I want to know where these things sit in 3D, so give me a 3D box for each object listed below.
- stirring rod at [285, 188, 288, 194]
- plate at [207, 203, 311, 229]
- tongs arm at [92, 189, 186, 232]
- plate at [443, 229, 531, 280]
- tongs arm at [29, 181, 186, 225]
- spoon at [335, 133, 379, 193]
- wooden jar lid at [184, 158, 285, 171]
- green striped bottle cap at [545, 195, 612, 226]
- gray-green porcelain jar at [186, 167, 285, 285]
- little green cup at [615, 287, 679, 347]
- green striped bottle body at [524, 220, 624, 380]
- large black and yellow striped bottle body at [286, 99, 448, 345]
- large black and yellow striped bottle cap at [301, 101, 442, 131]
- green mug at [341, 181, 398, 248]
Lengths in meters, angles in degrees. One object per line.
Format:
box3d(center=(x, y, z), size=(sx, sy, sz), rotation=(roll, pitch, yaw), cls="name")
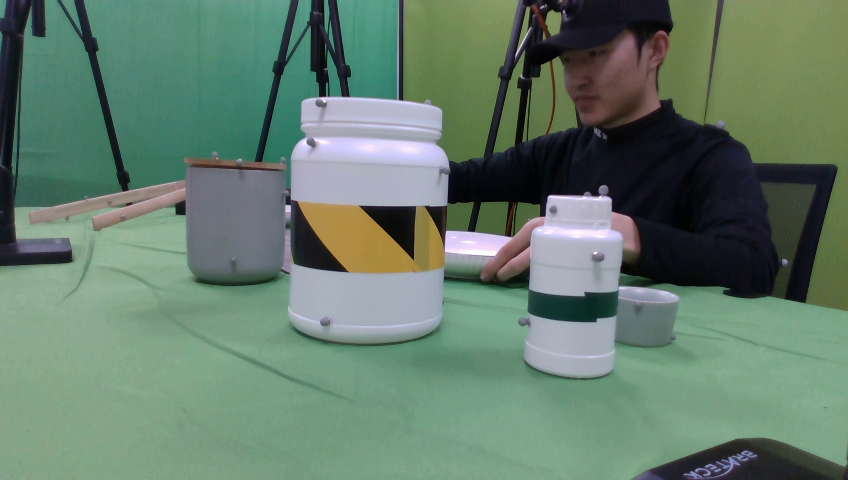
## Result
box3d(center=(-0.353, -0.122, 1.519), size=(0.006, 0.014, 0.176), rotation=(1, 6, 1), cls="stirring rod")
box3d(center=(-0.342, -0.050, 1.259), size=(0.208, 0.039, 0.207), rotation=(3, 7, 0), cls="plate")
box3d(center=(-0.534, -0.076, 1.221), size=(0.028, 0.028, 0.388), rotation=(-2, 15, 12), cls="tongs arm")
box3d(center=(0.056, 0.019, 0.814), size=(0.209, 0.038, 0.209), rotation=(3, 9, 0), cls="plate")
box3d(center=(-0.609, -0.083, 1.245), size=(0.050, 0.026, 0.386), rotation=(5, 16, 23), cls="tongs arm")
box3d(center=(-0.118, -0.134, 1.029), size=(0.042, 0.021, 0.193), rotation=(12, 34, -35), cls="spoon")
box3d(center=(-0.210, -0.078, 0.674), size=(0.108, 0.020, 0.108), rotation=(5, 6, 0), cls="wooden jar lid")
box3d(center=(0.106, -0.020, 0.414), size=(0.044, 0.020, 0.044), rotation=(2, 4, 0), cls="green striped bottle cap")
box3d(center=(-0.212, -0.017, 0.682), size=(0.106, 0.126, 0.106), rotation=(2, 7, 0), cls="gray-green porcelain jar")
box3d(center=(0.180, 0.064, 0.506), size=(0.061, 0.038, 0.061), rotation=(1, 8, 0), cls="little green cup")
box3d(center=(0.104, 0.031, 0.421), size=(0.063, 0.119, 0.063), rotation=(2, 8, 0), cls="green striped bottle body")
box3d(center=(-0.047, -0.018, 0.501), size=(0.131, 0.184, 0.130), rotation=(2, 7, 0), cls="large black and yellow striped bottle body")
box3d(center=(-0.042, -0.100, 0.491), size=(0.115, 0.019, 0.115), rotation=(1, 8, 0), cls="large black and yellow striped bottle cap")
box3d(center=(-0.089, -0.044, 0.996), size=(0.093, 0.105, 0.125), rotation=(0, 7, -8), cls="green mug")
